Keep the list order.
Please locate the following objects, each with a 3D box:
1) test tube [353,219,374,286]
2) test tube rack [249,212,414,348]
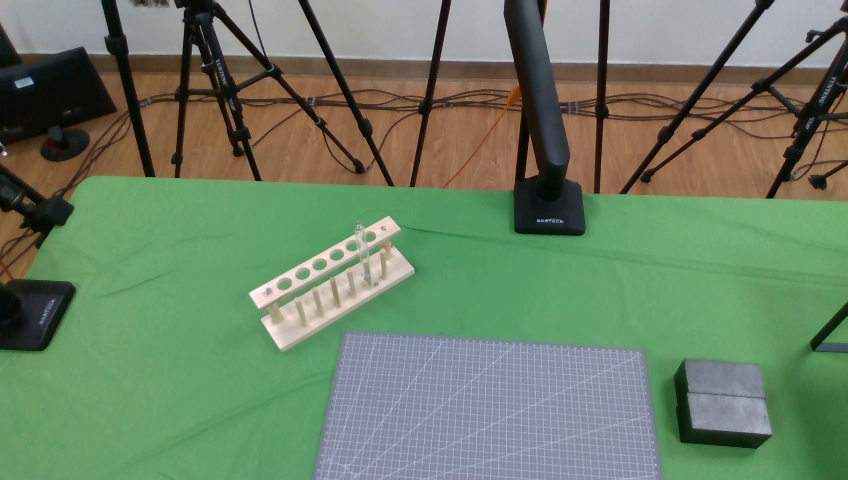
[{"bbox_3d":[-0.090,0.021,0.901,0.017,0.151,0.017,-1,51,2],"label":"test tube"},{"bbox_3d":[-0.134,0.059,0.930,0.242,0.086,0.066,-30,57,-20],"label":"test tube rack"}]
